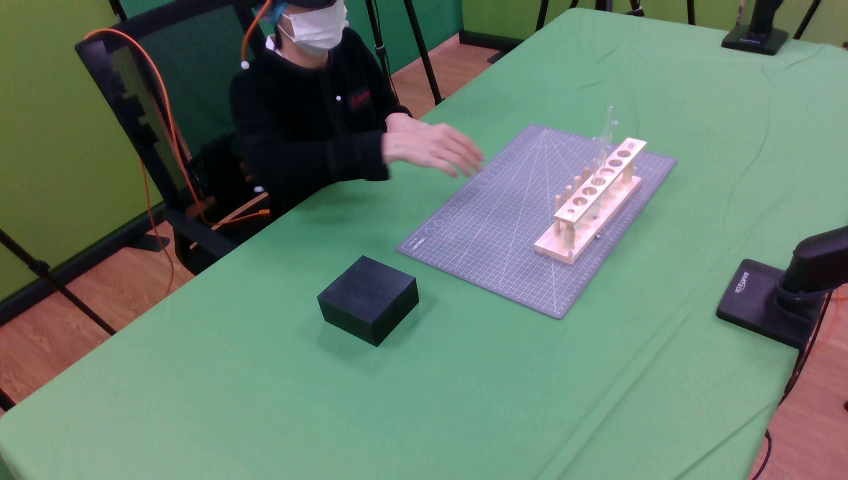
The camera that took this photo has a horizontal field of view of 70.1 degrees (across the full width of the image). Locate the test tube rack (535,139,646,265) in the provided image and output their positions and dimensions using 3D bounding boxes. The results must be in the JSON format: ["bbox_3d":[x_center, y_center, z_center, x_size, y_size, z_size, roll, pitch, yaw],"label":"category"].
[{"bbox_3d":[0.269,-0.071,0.964,0.066,0.085,0.243,23,49,32],"label":"test tube rack"}]

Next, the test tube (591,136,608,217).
[{"bbox_3d":[0.264,-0.092,0.912,0.017,0.151,0.017,-5,44,6],"label":"test tube"}]

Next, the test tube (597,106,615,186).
[{"bbox_3d":[0.295,-0.150,0.984,0.017,0.151,0.017,-4,41,4],"label":"test tube"}]
